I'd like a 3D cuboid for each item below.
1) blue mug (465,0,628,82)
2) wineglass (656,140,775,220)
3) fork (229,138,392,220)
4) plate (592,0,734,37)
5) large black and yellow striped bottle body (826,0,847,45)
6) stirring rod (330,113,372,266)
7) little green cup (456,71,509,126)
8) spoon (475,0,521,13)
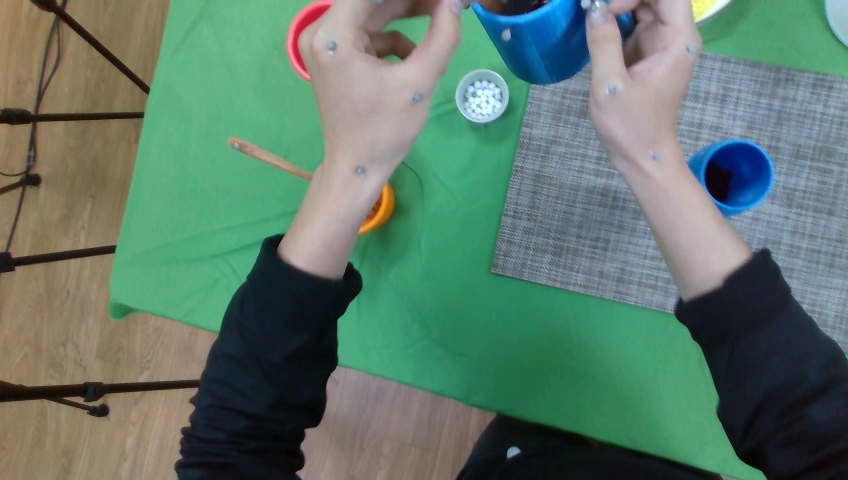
[{"bbox_3d":[0.096,-0.173,0.451,0.116,0.106,0.082,24,90,23],"label":"blue mug"},{"bbox_3d":[0.289,-0.056,0.619,0.073,0.172,0.073,0,89,8],"label":"wineglass"},{"bbox_3d":[-0.123,-0.068,0.692,0.209,0.018,0.028,23,102,-36],"label":"fork"},{"bbox_3d":[0.268,-0.334,0.693,0.209,0.038,0.209,0,91,8],"label":"plate"},{"bbox_3d":[0.502,-0.268,0.587,0.130,0.184,0.130,0,90,9],"label":"large black and yellow striped bottle body"},{"bbox_3d":[-0.083,-0.056,0.685,0.014,0.006,0.176,12,91,7],"label":"stirring rod"},{"bbox_3d":[0.071,-0.166,0.721,0.061,0.039,0.061,0,91,9],"label":"little green cup"},{"bbox_3d":[0.024,-0.161,0.381,0.021,0.193,0.042,42,123,9],"label":"spoon"}]
